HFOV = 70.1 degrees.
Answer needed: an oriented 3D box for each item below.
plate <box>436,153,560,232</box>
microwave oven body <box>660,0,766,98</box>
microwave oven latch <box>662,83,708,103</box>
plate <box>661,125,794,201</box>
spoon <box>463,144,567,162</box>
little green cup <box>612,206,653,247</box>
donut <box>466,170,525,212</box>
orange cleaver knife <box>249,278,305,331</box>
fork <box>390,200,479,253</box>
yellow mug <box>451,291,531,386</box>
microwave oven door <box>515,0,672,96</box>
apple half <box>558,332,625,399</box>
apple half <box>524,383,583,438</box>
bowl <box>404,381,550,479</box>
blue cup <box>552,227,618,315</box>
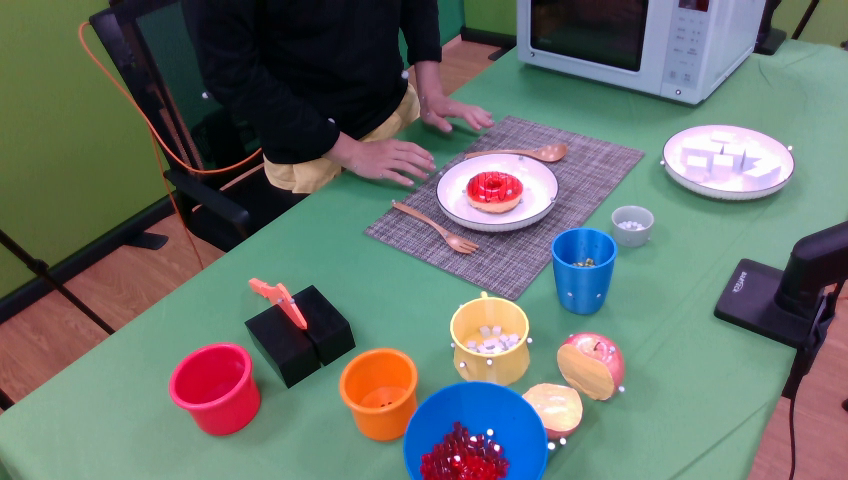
[{"bbox_3d":[0.125,-0.078,1.029,0.209,0.038,0.208,-4,40,4],"label":"plate"},{"bbox_3d":[0.472,-0.513,1.317,0.438,0.261,0.327,26,51,34],"label":"microwave oven body"},{"bbox_3d":[0.518,-0.296,1.204,0.078,0.029,0.030,28,52,35],"label":"microwave oven latch"},{"bbox_3d":[0.513,-0.128,1.035,0.207,0.039,0.206,-4,40,4],"label":"plate"},{"bbox_3d":[0.170,-0.163,1.134,0.193,0.022,0.041,1,59,10],"label":"spoon"},{"bbox_3d":[0.321,-0.019,0.936,0.061,0.039,0.061,-4,40,4],"label":"little green cup"},{"bbox_3d":[0.121,-0.083,1.019,0.099,0.048,0.098,-4,39,3],"label":"donut"},{"bbox_3d":[-0.210,0.088,0.856,0.012,0.077,0.210,-28,15,-25],"label":"orange cleaver knife"},{"bbox_3d":[0.011,-0.025,0.998,0.028,0.019,0.205,-38,51,-24],"label":"fork"},{"bbox_3d":[0.085,0.120,0.786,0.100,0.064,0.130,-7,39,1],"label":"yellow mug"},{"bbox_3d":[0.343,-0.454,1.259,0.353,0.245,0.039,26,51,33],"label":"microwave oven door"},{"bbox_3d":[0.209,0.147,0.731,0.080,0.075,0.053,25,46,38],"label":"apple half"},{"bbox_3d":[0.149,0.204,0.704,0.081,0.033,0.081,-10,25,5],"label":"apple half"},{"bbox_3d":[0.058,0.235,0.645,0.151,0.077,0.150,-4,39,4],"label":"bowl"},{"bbox_3d":[0.218,0.047,0.825,0.092,0.101,0.092,-6,39,5],"label":"blue cup"}]
